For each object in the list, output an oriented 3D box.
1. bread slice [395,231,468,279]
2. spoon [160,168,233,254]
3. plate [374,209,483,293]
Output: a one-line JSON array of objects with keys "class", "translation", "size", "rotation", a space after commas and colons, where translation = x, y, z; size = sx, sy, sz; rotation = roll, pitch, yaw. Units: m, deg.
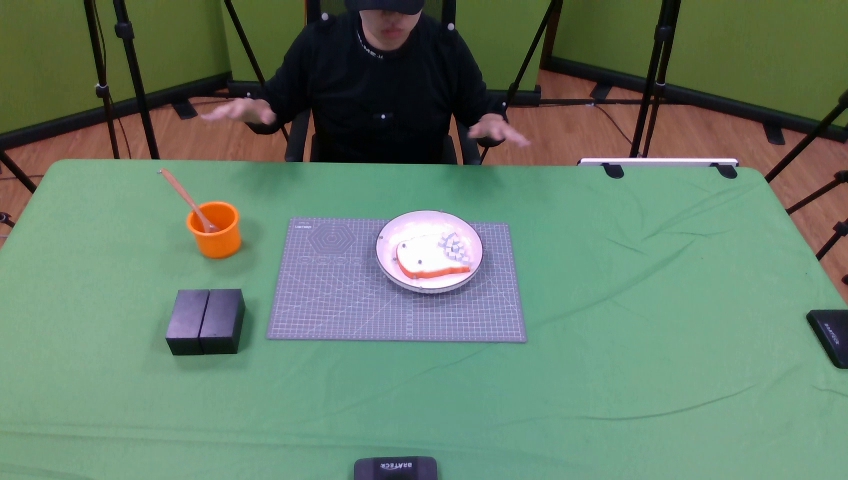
[{"class": "bread slice", "translation": [0.011, 0.030, 1.158], "size": [0.132, 0.019, 0.104], "rotation": [-8, 47, -14]}, {"class": "spoon", "translation": [-0.424, -0.055, 1.130], "size": [0.041, 0.194, 0.021], "rotation": [-42, 18, -31]}, {"class": "plate", "translation": [0.009, 0.024, 1.160], "size": [0.209, 0.038, 0.208], "rotation": [2, 46, -2]}]
